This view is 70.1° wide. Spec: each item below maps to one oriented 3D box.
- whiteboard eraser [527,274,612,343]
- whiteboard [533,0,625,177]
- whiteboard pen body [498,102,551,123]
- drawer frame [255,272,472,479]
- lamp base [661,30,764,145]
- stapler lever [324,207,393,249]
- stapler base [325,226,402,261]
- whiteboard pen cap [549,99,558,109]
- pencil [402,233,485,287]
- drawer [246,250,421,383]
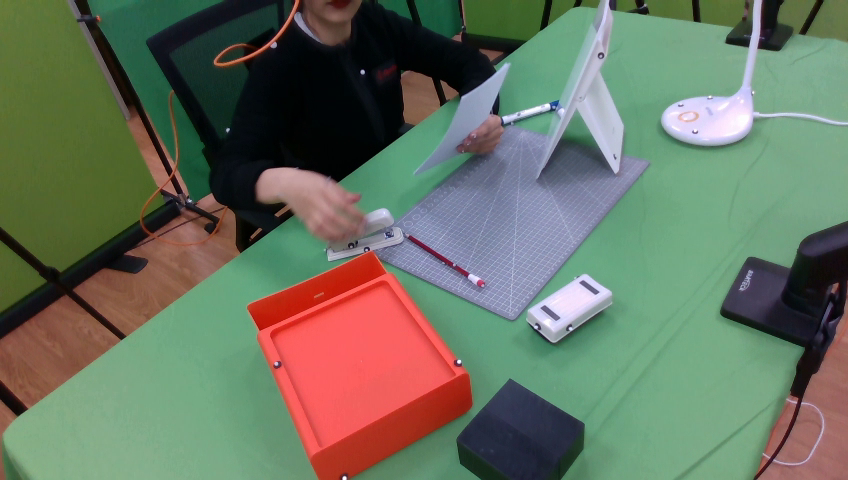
[{"bbox_3d":[0.198,0.094,0.820,0.113,0.042,0.055,-30,43,-22],"label":"whiteboard eraser"},{"bbox_3d":[0.321,-0.258,1.049,0.144,0.306,0.217,20,45,4],"label":"whiteboard"},{"bbox_3d":[0.220,-0.268,1.256,0.141,0.017,0.017,-18,41,-12],"label":"whiteboard pen body"},{"bbox_3d":[-0.079,0.161,0.759,0.202,0.083,0.211,-24,43,-18],"label":"drawer frame"},{"bbox_3d":[0.535,-0.287,1.096,0.179,0.181,0.159,-10,40,-4],"label":"lamp base"},{"bbox_3d":[-0.108,-0.021,0.981,0.118,0.040,0.026,-16,36,-2],"label":"stapler lever"},{"bbox_3d":[-0.102,-0.001,0.998,0.131,0.024,0.041,-16,36,-3],"label":"stapler base"},{"bbox_3d":[0.275,-0.286,1.267,0.033,0.018,0.018,-17,41,-12],"label":"whiteboard pen cap"},{"bbox_3d":[0.026,0.028,0.949,0.012,0.012,0.192,-34,44,-26],"label":"pencil"},{"bbox_3d":[-0.109,0.129,0.804,0.195,0.073,0.210,-23,42,-18],"label":"drawer"}]
